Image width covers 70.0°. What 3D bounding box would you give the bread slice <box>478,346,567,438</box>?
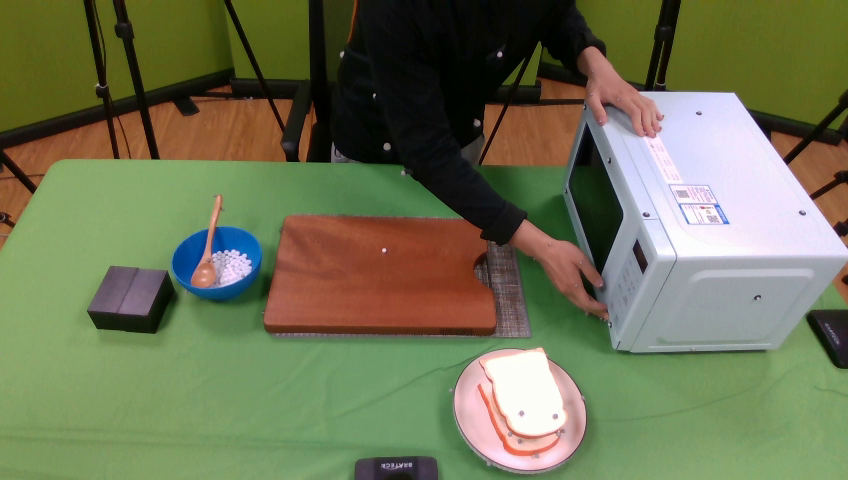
[{"bbox_3d":[0.153,0.226,0.901,0.107,0.018,0.133,-11,54,-16],"label":"bread slice"}]

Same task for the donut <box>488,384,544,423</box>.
[{"bbox_3d":[0.148,0.242,0.928,0.099,0.048,0.098,-2,41,2],"label":"donut"}]

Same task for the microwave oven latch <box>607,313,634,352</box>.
[{"bbox_3d":[0.336,0.154,1.043,0.030,0.029,0.078,4,45,1],"label":"microwave oven latch"}]

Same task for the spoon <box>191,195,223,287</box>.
[{"bbox_3d":[-0.383,0.000,1.088,0.041,0.022,0.193,0,66,5],"label":"spoon"}]

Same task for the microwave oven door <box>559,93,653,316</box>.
[{"bbox_3d":[0.327,-0.074,1.123,0.039,0.245,0.353,-1,46,-5],"label":"microwave oven door"}]

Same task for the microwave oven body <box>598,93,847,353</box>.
[{"bbox_3d":[0.476,-0.041,1.110,0.326,0.261,0.438,-1,45,-4],"label":"microwave oven body"}]

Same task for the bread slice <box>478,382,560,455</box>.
[{"bbox_3d":[0.154,0.268,0.943,0.105,0.019,0.130,-10,47,-13],"label":"bread slice"}]

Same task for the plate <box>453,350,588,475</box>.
[{"bbox_3d":[0.147,0.267,0.943,0.208,0.039,0.206,2,46,-2],"label":"plate"}]

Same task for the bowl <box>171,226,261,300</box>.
[{"bbox_3d":[-0.363,0.054,1.081,0.151,0.077,0.150,3,45,-3],"label":"bowl"}]
